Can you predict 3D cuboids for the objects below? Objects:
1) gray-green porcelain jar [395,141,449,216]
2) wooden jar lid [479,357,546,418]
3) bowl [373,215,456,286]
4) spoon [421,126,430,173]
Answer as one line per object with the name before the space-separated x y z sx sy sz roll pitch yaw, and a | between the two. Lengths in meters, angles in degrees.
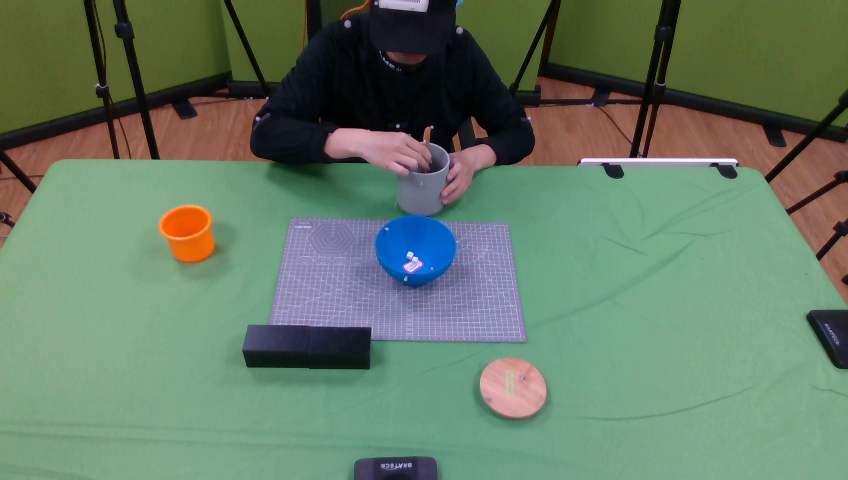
gray-green porcelain jar | -0.007 -0.120 1.241 0.106 0.127 0.105 2 46 -2
wooden jar lid | 0.142 0.240 0.979 0.108 0.021 0.107 1 46 -1
bowl | -0.019 0.032 1.122 0.151 0.077 0.150 2 46 -2
spoon | -0.001 -0.139 1.197 0.042 0.194 0.021 -13 40 -19
